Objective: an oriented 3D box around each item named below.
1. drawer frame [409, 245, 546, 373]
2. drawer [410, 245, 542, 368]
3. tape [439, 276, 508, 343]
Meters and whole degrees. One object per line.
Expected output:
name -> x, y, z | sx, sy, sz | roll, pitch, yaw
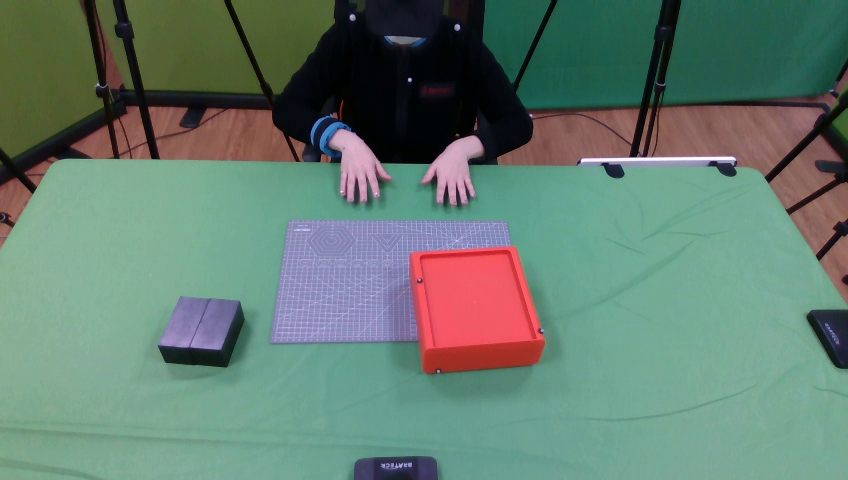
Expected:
drawer frame -> 0.084, 0.113, 1.049 | 0.202, 0.083, 0.212 | -4, 47, -8
drawer -> 0.083, 0.111, 1.051 | 0.195, 0.073, 0.210 | -3, 47, -8
tape -> 0.084, 0.119, 1.052 | 0.117, 0.053, 0.116 | 2, 45, -2
